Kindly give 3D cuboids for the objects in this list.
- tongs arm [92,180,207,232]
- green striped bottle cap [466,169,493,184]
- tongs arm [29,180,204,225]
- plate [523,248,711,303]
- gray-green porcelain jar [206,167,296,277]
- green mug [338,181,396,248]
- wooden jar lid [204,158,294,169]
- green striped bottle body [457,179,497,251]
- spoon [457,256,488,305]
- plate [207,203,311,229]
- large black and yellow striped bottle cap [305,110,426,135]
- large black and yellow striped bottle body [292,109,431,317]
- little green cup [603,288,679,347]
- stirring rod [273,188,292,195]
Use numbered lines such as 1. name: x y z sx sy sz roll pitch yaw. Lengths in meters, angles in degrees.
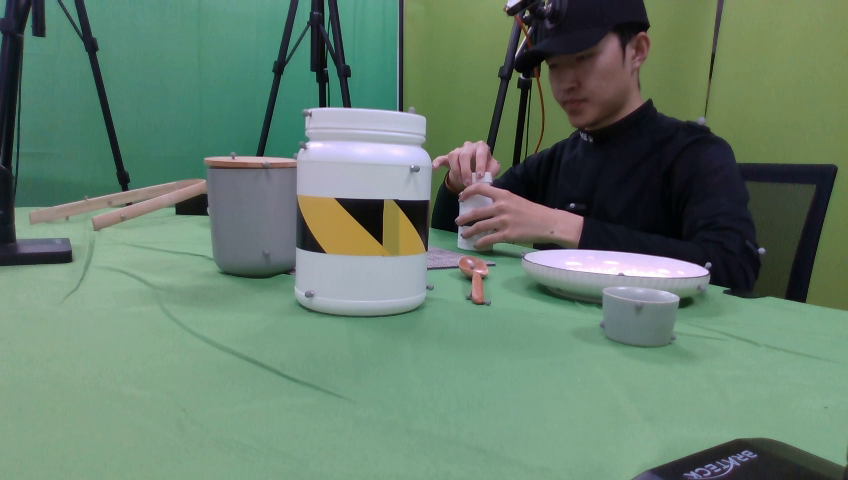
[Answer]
1. tongs arm: -0.534 -0.076 1.221 0.028 0.028 0.388 -2 15 12
2. green striped bottle cap: 0.094 -0.103 1.023 0.044 0.020 0.044 -13 28 8
3. tongs arm: -0.609 -0.083 1.245 0.050 0.026 0.386 5 16 23
4. plate: 0.219 0.041 0.706 0.209 0.038 0.209 2 7 0
5. gray-green porcelain jar: -0.201 -0.024 0.724 0.106 0.126 0.106 -1 9 1
6. green mug: -0.097 -0.044 0.995 0.093 0.105 0.125 -1 8 -21
7. wooden jar lid: -0.202 -0.086 0.714 0.108 0.020 0.108 3 11 0
8. green striped bottle body: 0.090 -0.044 1.023 0.063 0.119 0.063 4 7 0
9. spoon: 0.059 0.044 0.696 0.041 0.021 0.193 22 7 0
10. plate: -0.342 -0.050 1.259 0.208 0.039 0.207 3 7 0
11. large black and yellow striped bottle cap: -0.055 -0.110 0.574 0.115 0.019 0.115 1 7 0
12. large black and yellow striped bottle body: -0.060 -0.028 0.585 0.131 0.184 0.130 3 7 0
13. little green cup: 0.180 0.064 0.505 0.061 0.038 0.061 2 6 0
14. stirring rod: -0.354 -0.122 1.518 0.006 0.014 0.176 2 6 1
